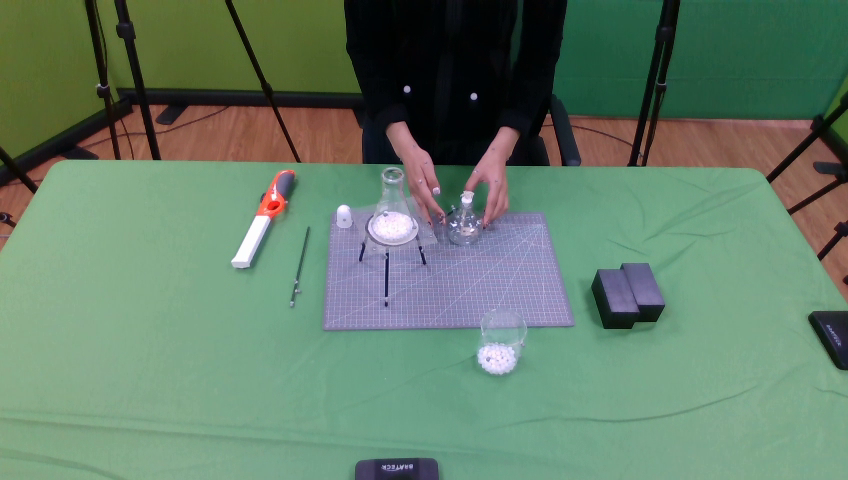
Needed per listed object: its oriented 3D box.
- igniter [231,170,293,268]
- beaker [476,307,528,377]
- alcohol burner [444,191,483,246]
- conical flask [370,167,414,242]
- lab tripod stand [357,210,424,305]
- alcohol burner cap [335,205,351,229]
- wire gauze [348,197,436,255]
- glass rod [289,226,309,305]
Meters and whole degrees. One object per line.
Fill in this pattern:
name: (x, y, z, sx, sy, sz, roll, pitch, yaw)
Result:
igniter: (-0.321, -0.051, 1.220, 0.057, 0.025, 0.275, 1, 45, 11)
beaker: (0.122, 0.171, 0.991, 0.084, 0.101, 0.073, -34, 56, -30)
alcohol burner: (0.078, -0.047, 1.184, 0.078, 0.120, 0.077, 1, 45, -1)
conical flask: (-0.053, -0.062, 1.000, 0.075, 0.122, 0.075, 2, 44, -2)
lab tripod stand: (-0.060, 0.020, 1.094, 0.148, 0.132, 0.147, 3, 44, -2)
alcohol burner cap: (-0.164, -0.049, 1.216, 0.034, 0.048, 0.033, 1, 45, -1)
wire gauze: (-0.056, -0.025, 1.046, 0.125, 0.011, 0.120, -14, 46, -15)
glass rod: (-0.235, 0.043, 1.149, 0.008, 0.008, 0.198, 3, 46, -1)
